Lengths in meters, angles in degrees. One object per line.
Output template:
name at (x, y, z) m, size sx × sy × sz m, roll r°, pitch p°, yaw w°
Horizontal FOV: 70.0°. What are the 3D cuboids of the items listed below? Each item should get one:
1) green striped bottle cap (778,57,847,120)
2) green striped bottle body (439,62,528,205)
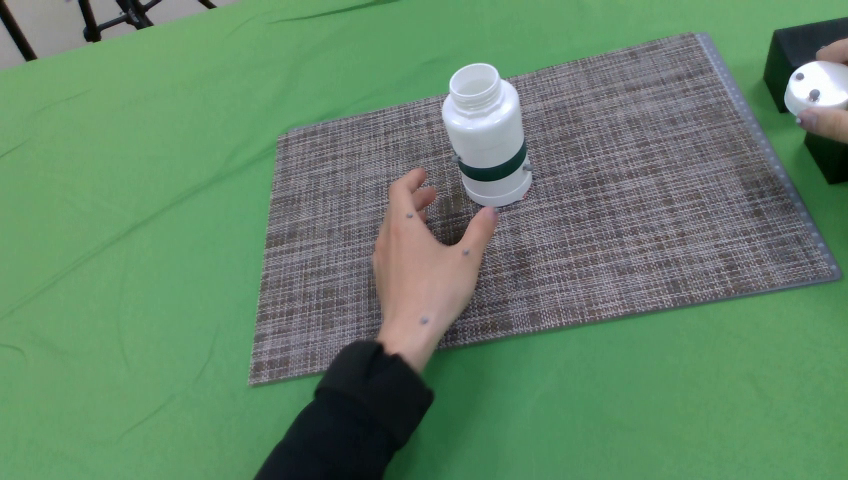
green striped bottle cap at (0.280, -0.109, 0.433) m, size 0.044 × 0.020 × 0.044 m, roll -9°, pitch 60°, yaw 16°
green striped bottle body at (0.050, -0.089, 0.509) m, size 0.063 × 0.120 × 0.062 m, roll -8°, pitch 53°, yaw 11°
